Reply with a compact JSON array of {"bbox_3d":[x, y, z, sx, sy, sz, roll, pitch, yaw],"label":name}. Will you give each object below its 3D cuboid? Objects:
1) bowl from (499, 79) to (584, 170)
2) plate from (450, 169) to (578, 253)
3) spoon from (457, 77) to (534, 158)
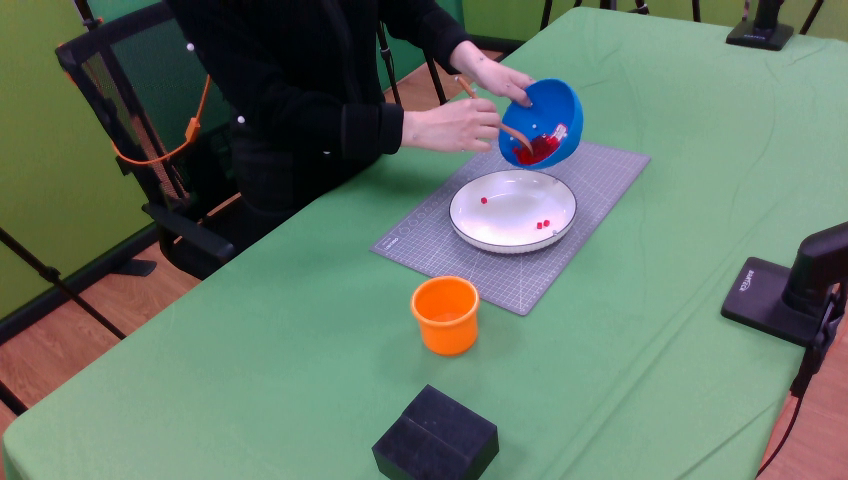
[{"bbox_3d":[0.204,-0.176,0.984,0.150,0.077,0.151,-21,60,41],"label":"bowl"},{"bbox_3d":[0.147,-0.044,0.994,0.209,0.038,0.208,-5,40,5],"label":"plate"},{"bbox_3d":[0.115,-0.188,0.943,0.021,0.195,0.041,-48,34,13],"label":"spoon"}]
